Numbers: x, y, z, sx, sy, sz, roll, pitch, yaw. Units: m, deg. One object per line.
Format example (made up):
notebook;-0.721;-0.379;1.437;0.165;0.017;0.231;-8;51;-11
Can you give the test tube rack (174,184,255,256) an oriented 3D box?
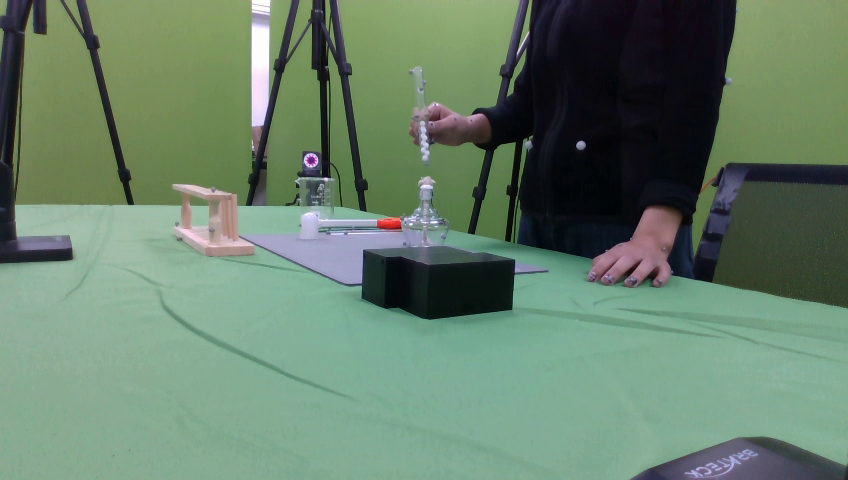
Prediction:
test tube rack;-0.327;-0.036;0.928;0.067;0.085;0.241;-2;9;-32

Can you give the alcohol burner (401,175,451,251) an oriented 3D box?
alcohol burner;0.003;-0.042;0.947;0.078;0.119;0.078;1;9;0

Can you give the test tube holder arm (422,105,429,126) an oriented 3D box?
test tube holder arm;0.002;-0.196;0.957;0.010;0.015;0.088;-4;-2;-1

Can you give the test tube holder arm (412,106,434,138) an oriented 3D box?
test tube holder arm;0.000;-0.194;1.002;0.013;0.015;0.178;-4;-2;7

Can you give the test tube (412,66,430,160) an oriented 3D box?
test tube;-0.004;-0.197;0.934;0.017;0.150;0.017;-5;-8;0

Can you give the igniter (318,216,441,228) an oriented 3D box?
igniter;-0.090;-0.036;1.222;0.278;0.025;0.057;-2;-2;-32

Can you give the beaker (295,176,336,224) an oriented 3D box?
beaker;-0.224;-0.080;1.247;0.084;0.100;0.073;-1;8;-18

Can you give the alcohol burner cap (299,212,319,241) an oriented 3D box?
alcohol burner cap;-0.195;-0.024;1.025;0.034;0.048;0.034;3;7;0

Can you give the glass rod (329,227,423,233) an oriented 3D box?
glass rod;-0.087;-0.019;1.148;0.201;0.008;0.008;-3;8;-32
